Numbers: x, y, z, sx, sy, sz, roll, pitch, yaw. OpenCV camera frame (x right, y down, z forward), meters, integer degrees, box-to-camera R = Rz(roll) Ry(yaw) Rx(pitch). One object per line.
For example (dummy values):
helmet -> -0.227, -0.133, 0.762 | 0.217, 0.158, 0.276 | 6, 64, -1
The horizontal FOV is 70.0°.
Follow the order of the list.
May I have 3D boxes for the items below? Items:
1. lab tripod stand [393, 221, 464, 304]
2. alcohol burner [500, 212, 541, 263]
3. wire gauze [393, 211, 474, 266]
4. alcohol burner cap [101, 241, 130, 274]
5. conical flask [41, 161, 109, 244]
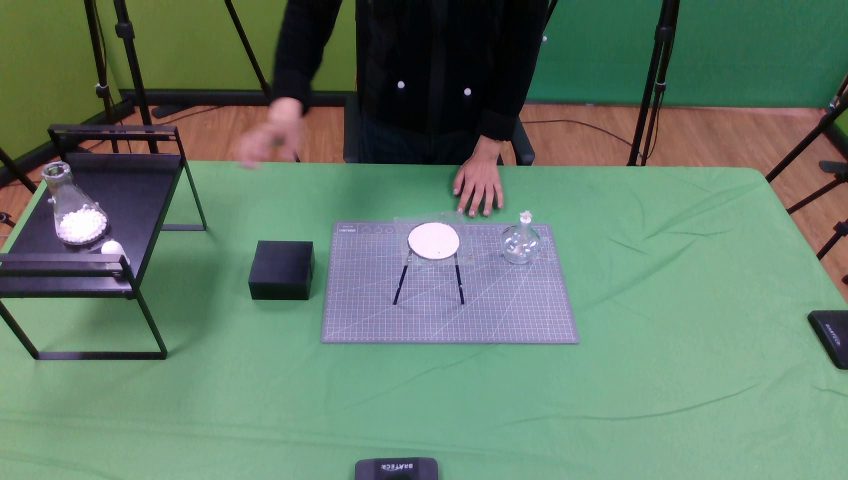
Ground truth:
lab tripod stand -> 0.010, 0.045, 1.075 | 0.148, 0.132, 0.147 | 2, 48, -2
alcohol burner -> 0.187, -0.011, 1.156 | 0.078, 0.120, 0.077 | 2, 48, -2
wire gauze -> 0.015, -0.003, 1.028 | 0.125, 0.011, 0.120 | -4, 47, -7
alcohol burner cap -> -0.449, 0.022, 0.878 | 0.034, 0.048, 0.033 | 2, 45, -2
conical flask -> -0.522, -0.058, 0.894 | 0.075, 0.122, 0.075 | 2, 46, -2
